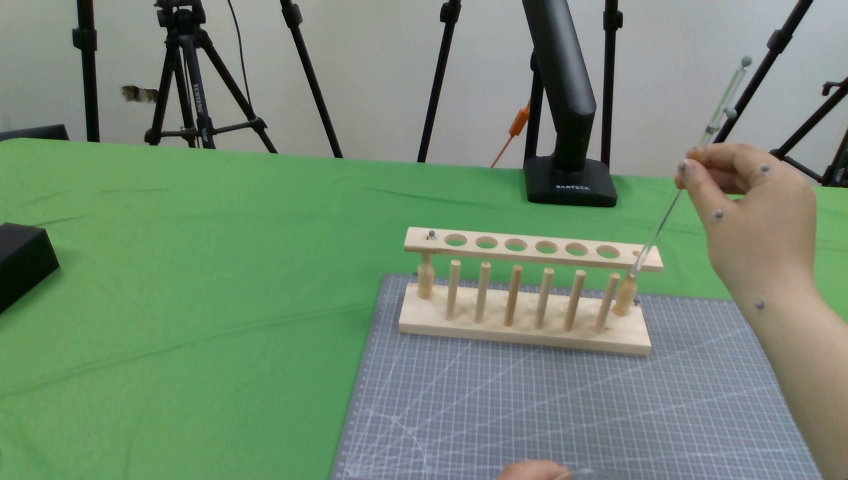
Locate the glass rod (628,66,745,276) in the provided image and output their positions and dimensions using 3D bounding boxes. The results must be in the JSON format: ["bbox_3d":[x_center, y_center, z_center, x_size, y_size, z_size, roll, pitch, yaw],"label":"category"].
[{"bbox_3d":[0.190,-0.039,0.453,0.008,0.201,0.008,4,45,-4],"label":"glass rod"}]

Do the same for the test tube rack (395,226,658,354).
[{"bbox_3d":[0.096,0.048,0.593,0.242,0.086,0.066,5,35,4],"label":"test tube rack"}]

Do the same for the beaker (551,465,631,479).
[{"bbox_3d":[0.089,0.195,0.353,0.084,0.101,0.073,-2,34,-13],"label":"beaker"}]
